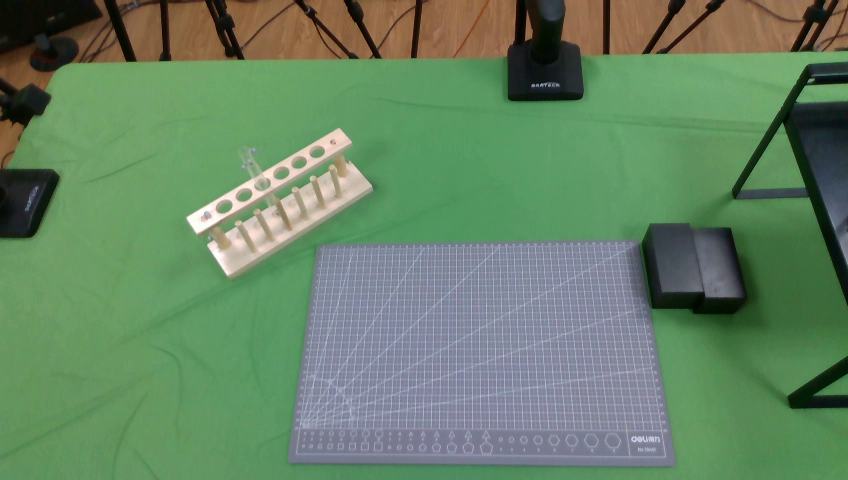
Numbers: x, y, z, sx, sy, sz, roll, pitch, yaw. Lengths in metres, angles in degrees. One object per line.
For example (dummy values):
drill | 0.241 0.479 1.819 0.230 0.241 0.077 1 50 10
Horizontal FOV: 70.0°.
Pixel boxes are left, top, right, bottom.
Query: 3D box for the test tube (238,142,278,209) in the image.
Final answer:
test tube | -0.220 -0.083 0.816 0.017 0.151 0.017 -1 63 3

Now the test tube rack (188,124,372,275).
test tube rack | -0.196 -0.058 0.857 0.242 0.086 0.066 -34 63 -14
